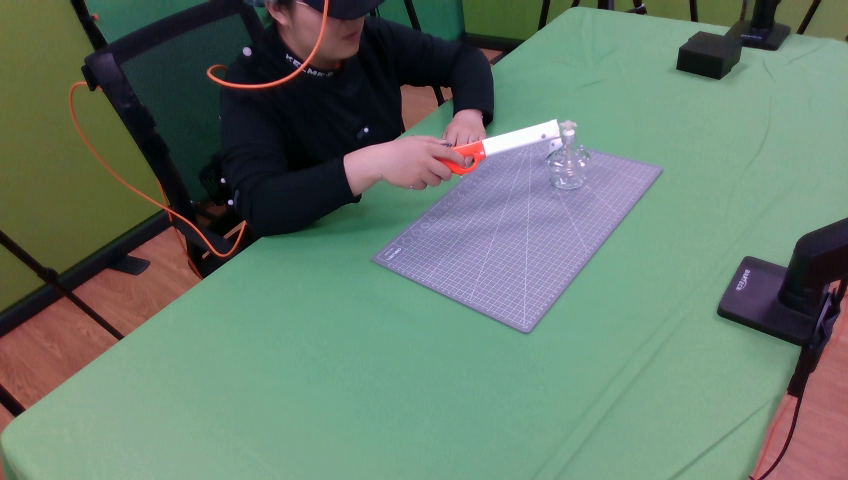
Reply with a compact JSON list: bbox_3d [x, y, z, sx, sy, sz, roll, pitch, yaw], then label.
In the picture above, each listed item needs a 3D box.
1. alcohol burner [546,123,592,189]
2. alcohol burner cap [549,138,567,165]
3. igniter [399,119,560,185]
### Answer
[{"bbox_3d":[0.248,-0.147,1.035,0.078,0.120,0.077,-7,41,6],"label":"alcohol burner"},{"bbox_3d":[0.247,-0.166,1.114,0.034,0.048,0.033,-6,40,6],"label":"alcohol burner cap"},{"bbox_3d":[0.088,-0.145,0.996,0.277,0.057,0.025,-17,-2,-1],"label":"igniter"}]
